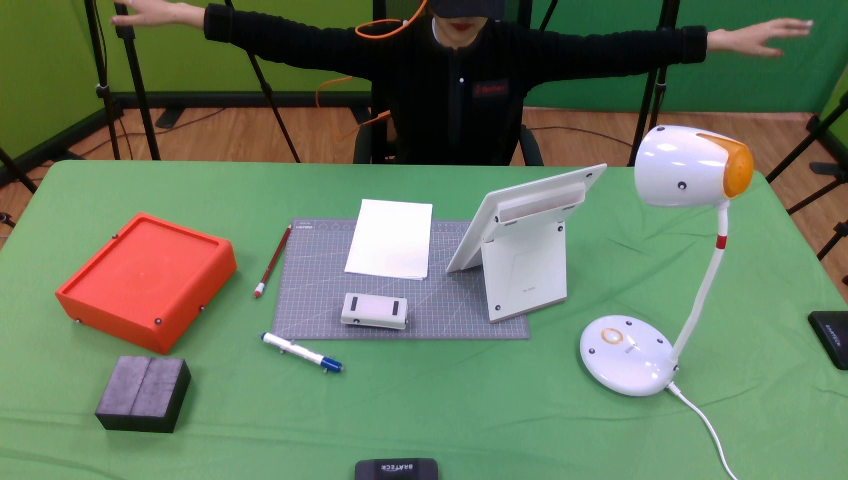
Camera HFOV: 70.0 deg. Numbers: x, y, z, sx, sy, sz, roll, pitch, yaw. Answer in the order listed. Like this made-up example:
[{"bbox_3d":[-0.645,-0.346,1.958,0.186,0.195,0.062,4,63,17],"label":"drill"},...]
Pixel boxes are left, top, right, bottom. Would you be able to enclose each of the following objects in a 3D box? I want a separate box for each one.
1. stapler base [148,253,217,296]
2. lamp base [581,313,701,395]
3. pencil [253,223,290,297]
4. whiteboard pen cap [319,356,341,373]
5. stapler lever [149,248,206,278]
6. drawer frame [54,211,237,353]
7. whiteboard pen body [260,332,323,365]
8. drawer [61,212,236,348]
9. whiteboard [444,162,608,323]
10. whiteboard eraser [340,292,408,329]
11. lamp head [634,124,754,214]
[{"bbox_3d":[-0.443,0.059,1.109,0.130,0.024,0.041,24,50,10],"label":"stapler base"},{"bbox_3d":[0.361,0.144,0.973,0.178,0.181,0.160,34,53,23],"label":"lamp base"},{"bbox_3d":[-0.286,0.033,1.150,0.012,0.012,0.193,9,46,4],"label":"pencil"},{"bbox_3d":[-0.154,0.203,0.992,0.033,0.018,0.018,21,48,12],"label":"whiteboard pen cap"},{"bbox_3d":[-0.442,0.037,1.084,0.118,0.040,0.027,19,49,17],"label":"stapler lever"},{"bbox_3d":[-0.473,0.067,1.055,0.201,0.083,0.212,17,48,11],"label":"drawer frame"},{"bbox_3d":[-0.208,0.184,1.003,0.140,0.017,0.017,20,48,12],"label":"whiteboard pen body"},{"bbox_3d":[-0.473,0.064,1.060,0.194,0.073,0.211,18,48,11],"label":"drawer"},{"bbox_3d":[0.186,0.026,1.028,0.217,0.306,0.143,-14,68,-18],"label":"whiteboard"},{"bbox_3d":[-0.087,0.125,1.052,0.113,0.042,0.055,5,45,1],"label":"whiteboard eraser"},{"bbox_3d":[0.351,-0.089,0.775,0.112,0.113,0.122,-30,30,-28],"label":"lamp head"}]
